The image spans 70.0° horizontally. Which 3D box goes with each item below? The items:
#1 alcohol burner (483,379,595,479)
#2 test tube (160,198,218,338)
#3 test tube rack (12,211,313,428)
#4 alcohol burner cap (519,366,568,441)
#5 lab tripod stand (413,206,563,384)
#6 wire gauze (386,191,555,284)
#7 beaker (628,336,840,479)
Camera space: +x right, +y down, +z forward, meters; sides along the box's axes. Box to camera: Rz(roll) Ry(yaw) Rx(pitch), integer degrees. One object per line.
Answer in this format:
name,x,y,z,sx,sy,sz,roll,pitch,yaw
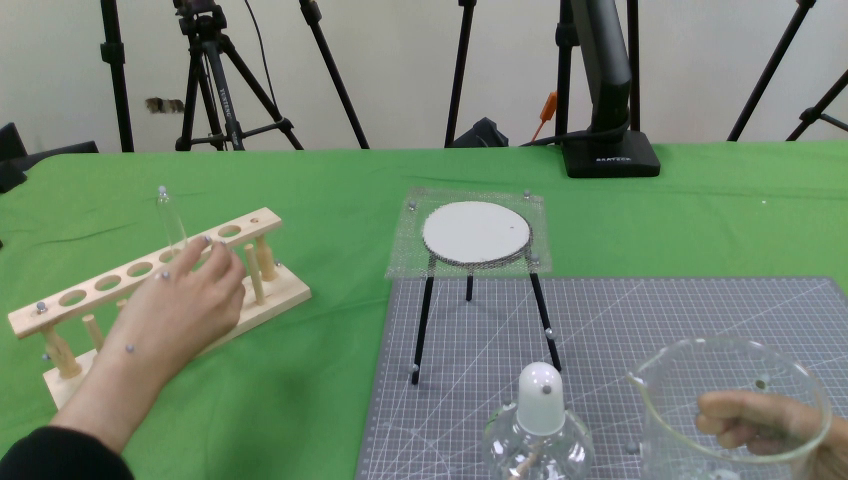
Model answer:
alcohol burner,0.079,0.133,0.414,0.078,0.120,0.077,-2,36,2
test tube,-0.210,0.029,0.546,0.017,0.151,0.017,-2,34,2
test tube rack,-0.232,0.065,0.574,0.242,0.086,0.066,-28,41,-30
alcohol burner cap,0.078,0.103,0.394,0.034,0.048,0.033,-5,34,4
lab tripod stand,0.052,0.049,0.521,0.148,0.132,0.147,-1,34,1
wire gauze,0.039,-0.005,0.482,0.121,0.011,0.124,2,36,7
beaker,0.138,0.107,0.287,0.083,0.101,0.074,11,36,31
